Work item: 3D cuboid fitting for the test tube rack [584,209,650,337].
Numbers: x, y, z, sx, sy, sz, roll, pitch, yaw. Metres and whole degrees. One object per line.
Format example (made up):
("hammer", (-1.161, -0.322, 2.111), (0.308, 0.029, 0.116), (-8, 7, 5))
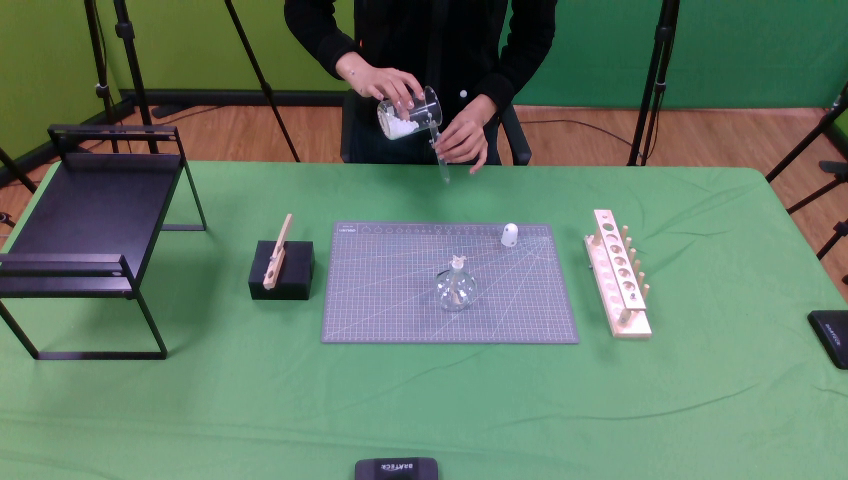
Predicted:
("test tube rack", (0.365, 0.056, 1.129), (0.067, 0.085, 0.240), (1, 46, -4))

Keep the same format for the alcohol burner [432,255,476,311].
("alcohol burner", (0.055, 0.070, 1.068), (0.078, 0.119, 0.077), (3, 45, -3))

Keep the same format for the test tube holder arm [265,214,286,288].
("test tube holder arm", (-0.268, 0.016, 1.099), (0.013, 0.015, 0.177), (3, 45, -5))

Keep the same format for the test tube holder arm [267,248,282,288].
("test tube holder arm", (-0.262, 0.048, 1.068), (0.010, 0.015, 0.087), (4, 45, -3))

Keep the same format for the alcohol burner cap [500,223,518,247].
("alcohol burner cap", (0.172, -0.013, 1.206), (0.034, 0.048, 0.033), (2, 45, -2))

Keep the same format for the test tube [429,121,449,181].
("test tube", (0.030, -0.171, 1.186), (0.017, 0.151, 0.017), (-7, 50, 9))

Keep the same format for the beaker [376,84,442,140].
("beaker", (-0.029, -0.225, 1.090), (0.100, 0.084, 0.073), (-22, 52, -13))
